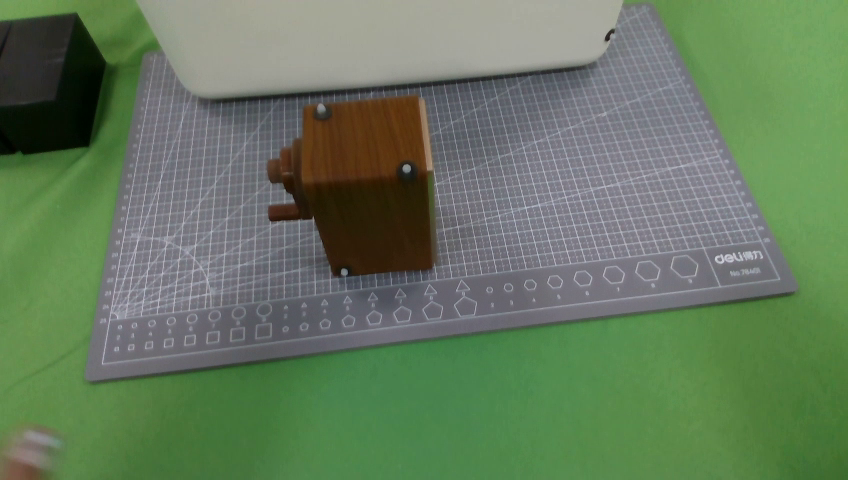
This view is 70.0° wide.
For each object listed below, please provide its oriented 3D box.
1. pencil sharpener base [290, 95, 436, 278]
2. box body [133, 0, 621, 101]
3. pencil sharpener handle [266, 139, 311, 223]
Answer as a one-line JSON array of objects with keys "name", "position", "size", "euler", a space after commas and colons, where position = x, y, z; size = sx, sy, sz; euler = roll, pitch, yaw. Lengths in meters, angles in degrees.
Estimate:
[{"name": "pencil sharpener base", "position": [-0.034, -0.028, 0.372], "size": [0.077, 0.108, 0.061], "euler": [-6, 58, -1]}, {"name": "box body", "position": [-0.034, -0.261, 0.490], "size": [0.364, 0.162, 0.251], "euler": [-6, 57, -2]}, {"name": "pencil sharpener handle", "position": [-0.085, -0.030, 0.360], "size": [0.030, 0.068, 0.035], "euler": [-6, 60, -1]}]
